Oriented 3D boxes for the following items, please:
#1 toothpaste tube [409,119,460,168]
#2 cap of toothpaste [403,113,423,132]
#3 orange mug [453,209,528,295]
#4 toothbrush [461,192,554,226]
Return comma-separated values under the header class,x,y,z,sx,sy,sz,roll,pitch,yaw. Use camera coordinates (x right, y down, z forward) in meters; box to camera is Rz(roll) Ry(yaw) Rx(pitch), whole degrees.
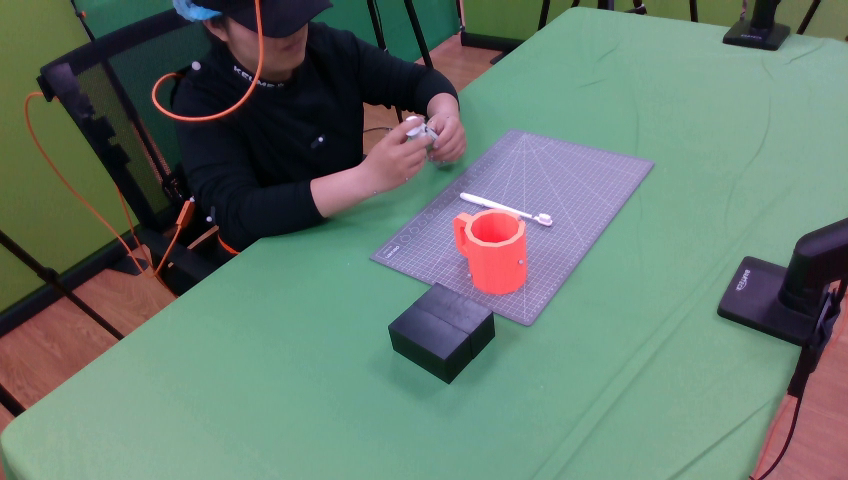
class,x,y,z,sx,sy,sz,roll,pitch,yaw
toothpaste tube,0.014,-0.176,1.086,0.055,0.166,0.034,-25,66,15
cap of toothpaste,-0.019,-0.197,1.017,0.037,0.011,0.037,-8,71,24
orange mug,0.095,0.010,0.894,0.125,0.101,0.084,32,55,34
toothbrush,0.137,-0.056,1.026,0.180,0.017,0.014,20,60,32
